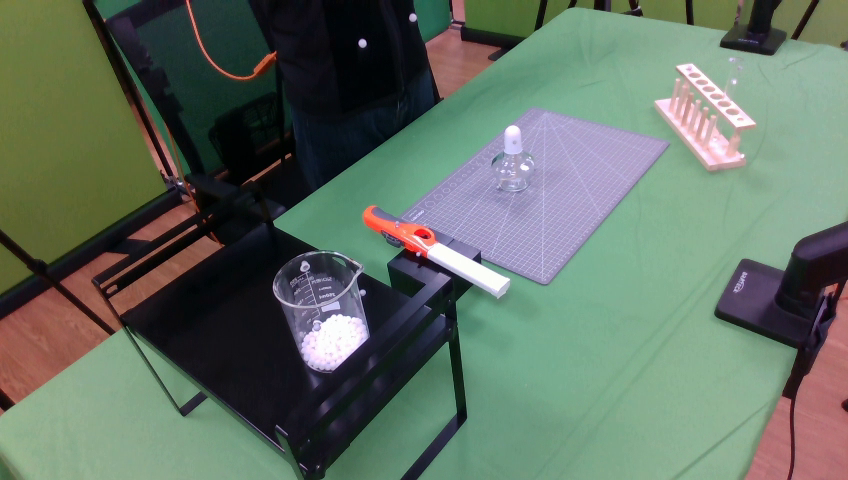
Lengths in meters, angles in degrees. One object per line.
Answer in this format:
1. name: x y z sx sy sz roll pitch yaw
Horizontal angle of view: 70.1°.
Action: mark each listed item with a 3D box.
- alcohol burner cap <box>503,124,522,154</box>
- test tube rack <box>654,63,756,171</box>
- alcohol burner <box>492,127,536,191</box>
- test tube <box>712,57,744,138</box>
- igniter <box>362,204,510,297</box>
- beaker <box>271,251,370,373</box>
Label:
1. alcohol burner cap: 0.151 -0.173 1.022 0.034 0.048 0.033 -4 36 3
2. test tube rack: 0.510 -0.233 1.120 0.067 0.085 0.241 -8 41 -1
3. alcohol burner: 0.155 -0.146 1.046 0.078 0.119 0.077 -4 43 4
4. test tube: 0.530 -0.246 1.056 0.017 0.151 0.017 -1 39 1
5. igniter: 0.007 0.009 0.887 0.274 0.025 0.057 29 50 32
6. beaker: -0.090 0.069 0.571 0.084 0.101 0.073 -19 42 -13
